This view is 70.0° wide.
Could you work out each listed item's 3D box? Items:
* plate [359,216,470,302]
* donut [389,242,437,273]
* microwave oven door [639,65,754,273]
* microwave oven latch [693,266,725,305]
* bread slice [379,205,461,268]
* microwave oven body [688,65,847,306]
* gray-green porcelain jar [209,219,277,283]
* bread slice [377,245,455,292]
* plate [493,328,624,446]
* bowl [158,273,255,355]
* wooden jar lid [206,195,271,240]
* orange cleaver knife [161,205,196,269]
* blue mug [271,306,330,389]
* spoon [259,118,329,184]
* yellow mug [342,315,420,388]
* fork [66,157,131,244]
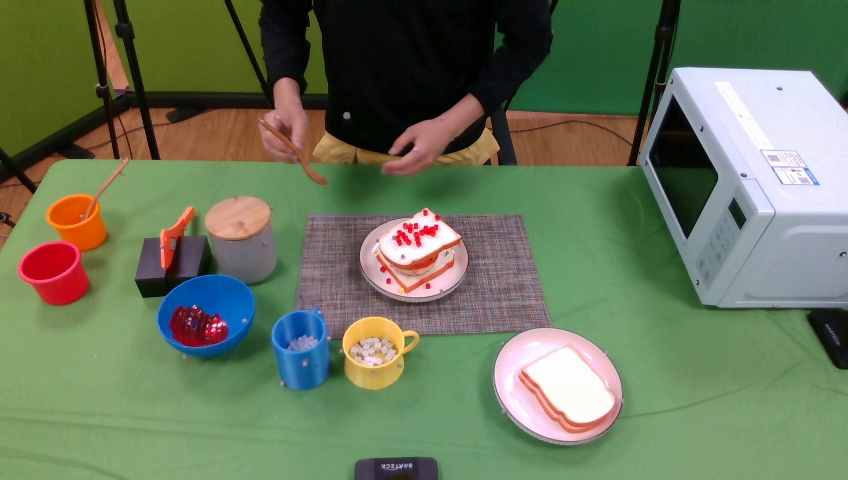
[{"bbox_3d":[-0.019,0.038,1.140,0.209,0.038,0.208,2,46,-2],"label":"plate"},{"bbox_3d":[-0.023,0.018,1.120,0.099,0.048,0.098,-10,48,11],"label":"donut"},{"bbox_3d":[0.522,-0.147,1.193,0.039,0.245,0.353,0,47,-3],"label":"microwave oven door"},{"bbox_3d":[0.523,0.081,1.115,0.030,0.029,0.078,3,46,0],"label":"microwave oven latch"},{"bbox_3d":[-0.013,-0.002,1.097,0.134,0.018,0.106,-34,50,-22],"label":"bread slice"},{"bbox_3d":[0.669,-0.111,1.176,0.326,0.261,0.439,0,46,-3],"label":"microwave oven body"},{"bbox_3d":[-0.323,0.007,1.092,0.106,0.127,0.105,2,46,-2],"label":"gray-green porcelain jar"},{"bbox_3d":[-0.010,0.033,1.150,0.131,0.019,0.104,-28,56,-24],"label":"bread slice"},{"bbox_3d":[0.213,0.236,0.974,0.208,0.039,0.206,2,46,-2],"label":"plate"},{"bbox_3d":[-0.351,0.136,1.001,0.151,0.077,0.150,2,46,-2],"label":"bowl"},{"bbox_3d":[-0.319,-0.036,1.046,0.108,0.021,0.107,1,44,-1],"label":"wooden jar lid"},{"bbox_3d":[-0.454,-0.010,1.129,0.012,0.077,0.210,-2,20,-5],"label":"orange cleaver knife"},{"bbox_3d":[-0.188,0.163,0.969,0.082,0.106,0.116,15,47,10],"label":"blue mug"},{"bbox_3d":[-0.219,-0.151,1.034,0.021,0.195,0.041,-36,54,1],"label":"spoon"},{"bbox_3d":[-0.068,0.177,0.990,0.131,0.064,0.099,-15,50,-19],"label":"yellow mug"},{"bbox_3d":[-0.608,-0.074,1.132,0.207,0.019,0.028,-52,47,10],"label":"fork"}]
